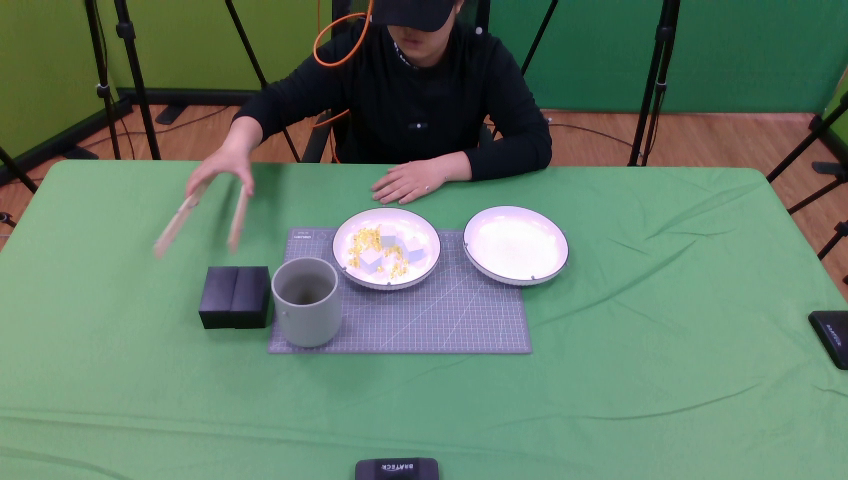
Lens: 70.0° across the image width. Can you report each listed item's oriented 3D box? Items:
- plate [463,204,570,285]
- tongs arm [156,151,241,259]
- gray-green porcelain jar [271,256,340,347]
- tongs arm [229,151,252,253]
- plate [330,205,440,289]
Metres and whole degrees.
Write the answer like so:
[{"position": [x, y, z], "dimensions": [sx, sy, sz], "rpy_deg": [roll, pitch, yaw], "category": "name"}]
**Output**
[{"position": [0.178, 0.012, 1.184], "dimensions": [0.209, 0.038, 0.208], "rpy_deg": [3, 46, -3], "category": "plate"}, {"position": [-0.410, -0.079, 1.135], "dimensions": [0.051, 0.026, 0.382], "rpy_deg": [-4, 31, 0], "category": "tongs arm"}, {"position": [-0.193, 0.107, 1.004], "dimensions": [0.106, 0.127, 0.105], "rpy_deg": [2, 46, -2], "category": "gray-green porcelain jar"}, {"position": [-0.346, -0.084, 1.138], "dimensions": [0.028, 0.028, 0.385], "rpy_deg": [-12, 32, -5], "category": "tongs arm"}, {"position": [-0.074, 0.017, 1.160], "dimensions": [0.208, 0.039, 0.206], "rpy_deg": [2, 46, -2], "category": "plate"}]
